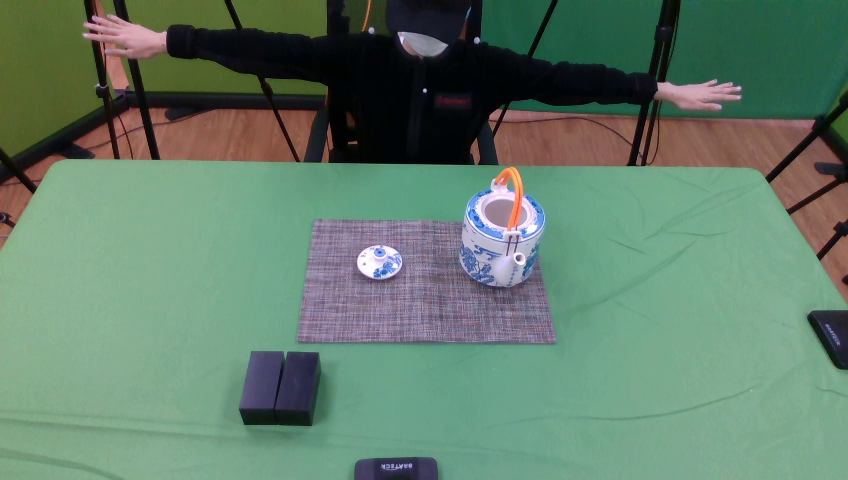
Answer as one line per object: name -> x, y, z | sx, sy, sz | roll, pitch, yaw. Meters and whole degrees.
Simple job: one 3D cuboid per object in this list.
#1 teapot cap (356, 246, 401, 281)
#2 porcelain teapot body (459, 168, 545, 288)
teapot cap -> -0.085, 0.039, 1.135 | 0.085, 0.044, 0.084 | 4, 47, -4
porcelain teapot body -> 0.146, -0.006, 1.070 | 0.145, 0.226, 0.204 | -4, 46, -8
